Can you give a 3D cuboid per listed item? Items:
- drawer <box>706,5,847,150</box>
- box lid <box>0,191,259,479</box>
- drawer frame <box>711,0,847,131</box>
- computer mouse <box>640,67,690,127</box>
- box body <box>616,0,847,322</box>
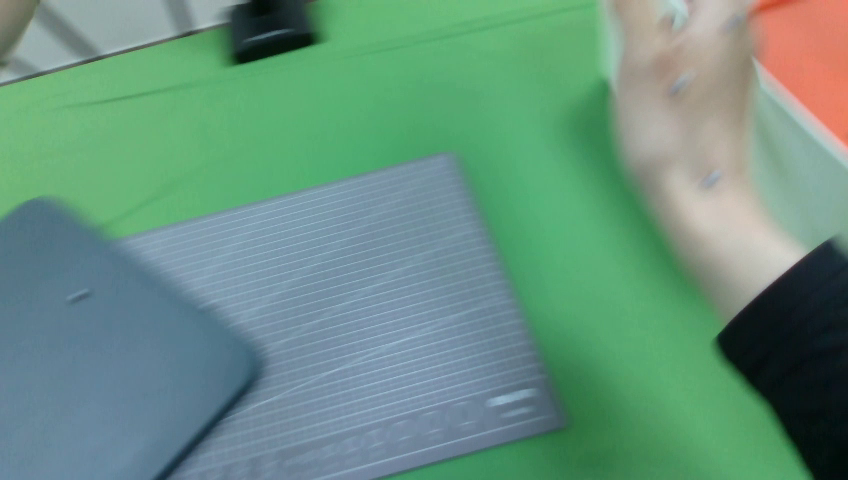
[{"bbox_3d":[0.340,-0.136,0.517,0.212,0.074,0.192,-10,45,-17],"label":"drawer"},{"bbox_3d":[-0.341,0.106,0.516,0.368,0.015,0.262,28,62,28],"label":"box lid"},{"bbox_3d":[0.332,-0.127,0.523,0.214,0.083,0.199,-19,51,-6],"label":"drawer frame"},{"bbox_3d":[0.246,-0.119,0.511,0.116,0.041,0.062,31,60,22],"label":"computer mouse"},{"bbox_3d":[0.338,-0.136,0.485,0.254,0.162,0.360,-16,51,-2],"label":"box body"}]
